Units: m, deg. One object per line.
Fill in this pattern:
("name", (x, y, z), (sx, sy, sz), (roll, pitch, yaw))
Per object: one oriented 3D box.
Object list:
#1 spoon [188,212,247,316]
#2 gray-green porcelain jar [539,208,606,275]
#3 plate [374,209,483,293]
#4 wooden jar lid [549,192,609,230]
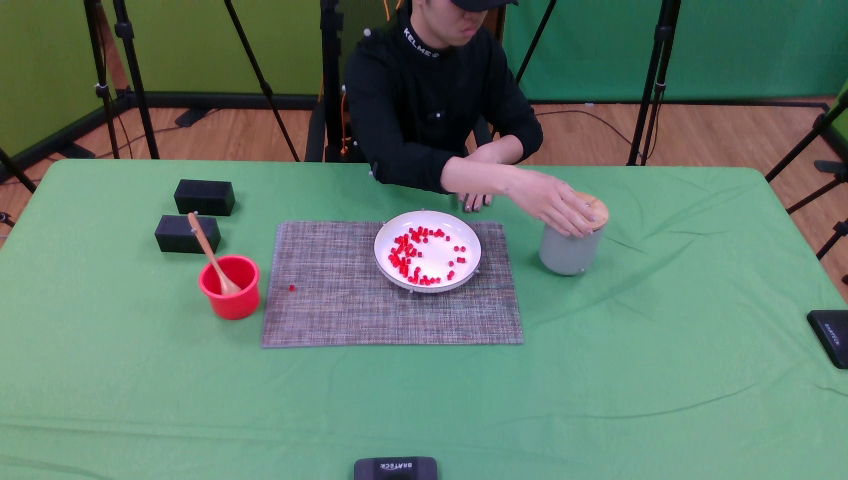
("spoon", (-0.358, 0.042, 1.037), (0.041, 0.021, 0.194), (-28, 93, -22))
("gray-green porcelain jar", (0.278, -0.004, 1.148), (0.106, 0.127, 0.105), (2, 46, -2))
("plate", (0.008, 0.024, 1.158), (0.208, 0.039, 0.206), (2, 46, -2))
("wooden jar lid", (0.280, -0.051, 1.097), (0.108, 0.021, 0.108), (4, 36, -3))
